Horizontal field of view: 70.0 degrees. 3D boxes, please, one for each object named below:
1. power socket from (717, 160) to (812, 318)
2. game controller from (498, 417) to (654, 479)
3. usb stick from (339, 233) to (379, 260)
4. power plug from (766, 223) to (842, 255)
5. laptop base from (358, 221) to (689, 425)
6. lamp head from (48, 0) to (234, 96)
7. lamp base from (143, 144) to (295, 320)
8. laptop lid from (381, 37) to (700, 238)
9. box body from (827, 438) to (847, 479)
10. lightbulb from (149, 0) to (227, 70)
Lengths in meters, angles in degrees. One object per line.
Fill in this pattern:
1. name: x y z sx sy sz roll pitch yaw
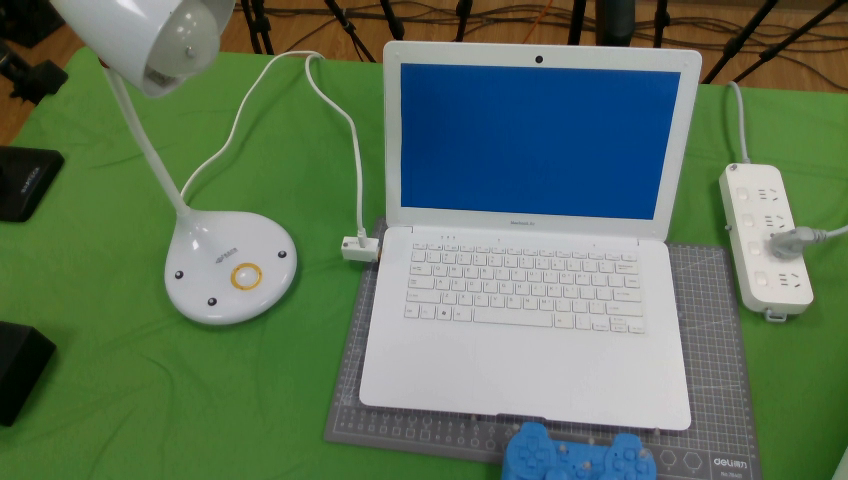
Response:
1. power socket: 0.417 -0.011 0.751 0.072 0.033 0.225 5 57 4
2. game controller: 0.150 0.229 0.597 0.155 0.052 0.096 6 56 6
3. usb stick: -0.074 0.009 0.753 0.059 0.027 0.021 8 51 3
4. power plug: 0.443 0.006 0.713 0.072 0.053 0.035 14 58 10
5. laptop base: 0.113 0.089 0.708 0.354 0.023 0.233 3 60 4
6. lamp head: -0.217 -0.181 0.439 0.123 0.112 0.112 33 61 -4
7. lamp base: -0.255 -0.020 0.698 0.178 0.182 0.160 29 62 23
8. laptop lid: 0.125 -0.114 0.719 0.356 0.243 0.013 2 26 5
9. box body: 0.565 0.181 0.542 0.252 0.162 0.363 35 65 22
10. lightbulb: -0.186 -0.175 0.434 0.059 0.059 0.108 -32 100 -17
